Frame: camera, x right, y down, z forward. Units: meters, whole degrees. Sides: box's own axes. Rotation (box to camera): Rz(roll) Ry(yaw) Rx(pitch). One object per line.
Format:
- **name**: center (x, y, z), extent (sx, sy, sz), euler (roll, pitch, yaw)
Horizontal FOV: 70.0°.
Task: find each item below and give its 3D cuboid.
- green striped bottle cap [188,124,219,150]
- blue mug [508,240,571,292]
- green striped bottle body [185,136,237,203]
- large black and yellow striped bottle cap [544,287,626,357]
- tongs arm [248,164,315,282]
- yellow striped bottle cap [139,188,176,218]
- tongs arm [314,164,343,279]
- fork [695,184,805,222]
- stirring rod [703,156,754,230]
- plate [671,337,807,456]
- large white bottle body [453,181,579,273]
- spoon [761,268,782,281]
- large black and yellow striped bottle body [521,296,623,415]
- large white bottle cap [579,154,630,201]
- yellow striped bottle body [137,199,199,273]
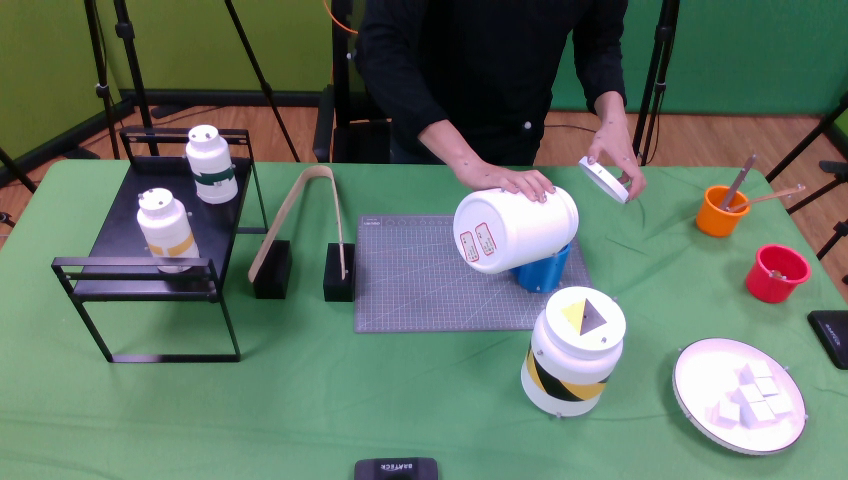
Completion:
- **green striped bottle cap**: center (-0.339, -0.158, 0.931), extent (0.044, 0.020, 0.044), euler (3, 47, -3)
- **blue mug**: center (0.203, 0.031, 1.121), extent (0.116, 0.106, 0.082), euler (5, 46, 1)
- **green striped bottle body**: center (-0.341, -0.121, 0.968), extent (0.063, 0.120, 0.063), euler (2, 46, -2)
- **large black and yellow striped bottle cap**: center (0.232, 0.116, 0.876), extent (0.115, 0.019, 0.114), euler (2, 46, -1)
- **tongs arm**: center (-0.270, -0.047, 1.165), extent (0.028, 0.028, 0.385), euler (-1, 34, 7)
- **yellow striped bottle cap**: center (-0.363, -0.050, 0.826), extent (0.044, 0.019, 0.044), euler (1, 47, -1)
- **tongs arm**: center (-0.188, -0.049, 1.170), extent (0.051, 0.026, 0.382), euler (-6, 35, -6)
- **fork**: center (0.657, -0.075, 1.230), extent (0.207, 0.019, 0.028), euler (-23, 34, 37)
- **stirring rod**: center (0.631, -0.097, 1.258), extent (0.014, 0.006, 0.176), euler (33, 95, 28)
- **plate**: center (0.504, 0.253, 0.984), extent (0.208, 0.039, 0.206), euler (2, 46, -2)
- **large white bottle body**: center (0.154, -0.027, 0.983), extent (0.185, 0.131, 0.130), euler (-13, 47, -39)
- **spoon**: center (0.638, 0.060, 1.105), extent (0.041, 0.021, 0.194), euler (38, 11, 24)
- **large black and yellow striped bottle body**: center (0.228, 0.173, 0.938), extent (0.131, 0.185, 0.130), euler (2, 47, -2)
- **large white bottle cap**: center (0.337, -0.116, 1.132), extent (0.018, 0.115, 0.114), euler (-48, 54, 13)
- **yellow striped bottle body**: center (-0.366, -0.014, 0.863), extent (0.063, 0.121, 0.062), euler (2, 46, -2)
